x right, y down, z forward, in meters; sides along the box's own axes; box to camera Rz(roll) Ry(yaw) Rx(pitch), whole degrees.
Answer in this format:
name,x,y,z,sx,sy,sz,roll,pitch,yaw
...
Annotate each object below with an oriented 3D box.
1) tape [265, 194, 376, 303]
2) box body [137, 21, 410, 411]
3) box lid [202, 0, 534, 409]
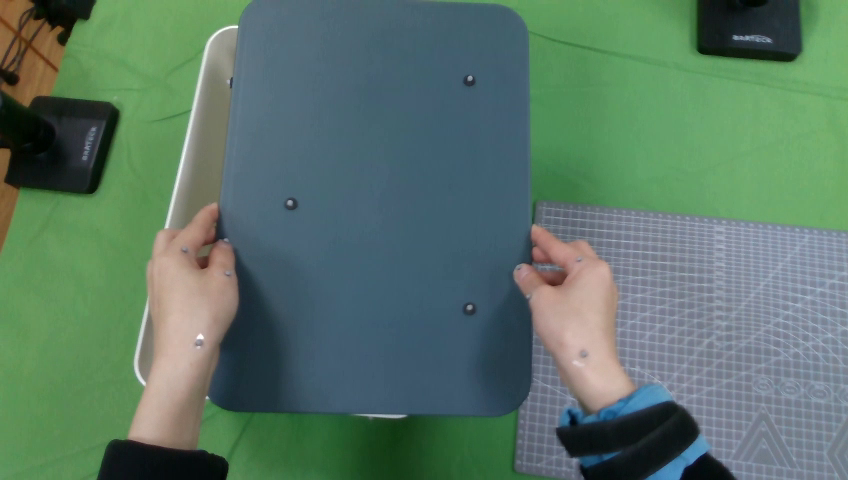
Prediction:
name,x,y,z,sx,sy,sz,roll,pitch,yaw
tape,-0.113,0.011,0.671,0.117,0.053,0.116,-1,77,2
box body,-0.102,-0.018,0.628,0.254,0.161,0.362,5,75,4
box lid,-0.039,-0.049,0.515,0.263,0.015,0.369,2,77,-3
